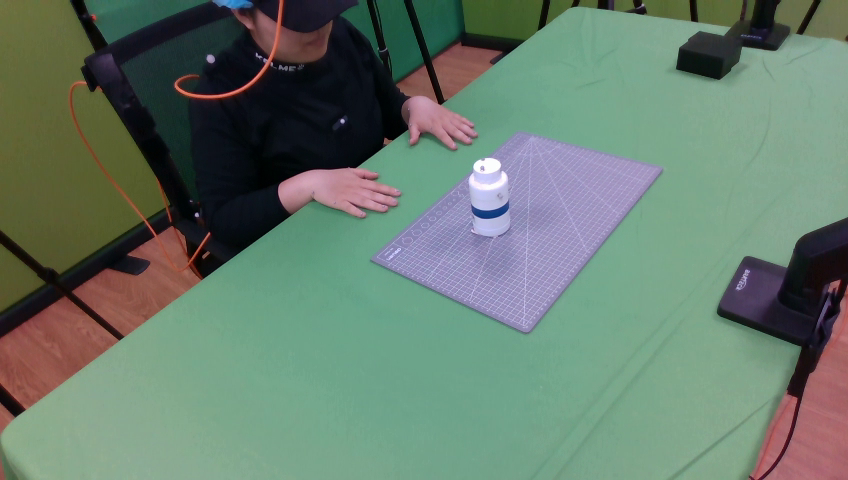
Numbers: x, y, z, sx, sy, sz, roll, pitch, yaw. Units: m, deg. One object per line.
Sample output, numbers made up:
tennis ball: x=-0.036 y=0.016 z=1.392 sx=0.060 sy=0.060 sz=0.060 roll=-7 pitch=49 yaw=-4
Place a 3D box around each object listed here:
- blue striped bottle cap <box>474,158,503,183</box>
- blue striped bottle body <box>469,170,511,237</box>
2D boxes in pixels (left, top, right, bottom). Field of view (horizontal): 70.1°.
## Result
blue striped bottle cap: x=0.099 y=-0.108 z=0.931 sx=0.044 sy=0.021 sz=0.044 roll=-6 pitch=41 yaw=6
blue striped bottle body: x=0.105 y=-0.069 z=0.963 sx=0.063 sy=0.121 sz=0.063 roll=-6 pitch=40 yaw=5
